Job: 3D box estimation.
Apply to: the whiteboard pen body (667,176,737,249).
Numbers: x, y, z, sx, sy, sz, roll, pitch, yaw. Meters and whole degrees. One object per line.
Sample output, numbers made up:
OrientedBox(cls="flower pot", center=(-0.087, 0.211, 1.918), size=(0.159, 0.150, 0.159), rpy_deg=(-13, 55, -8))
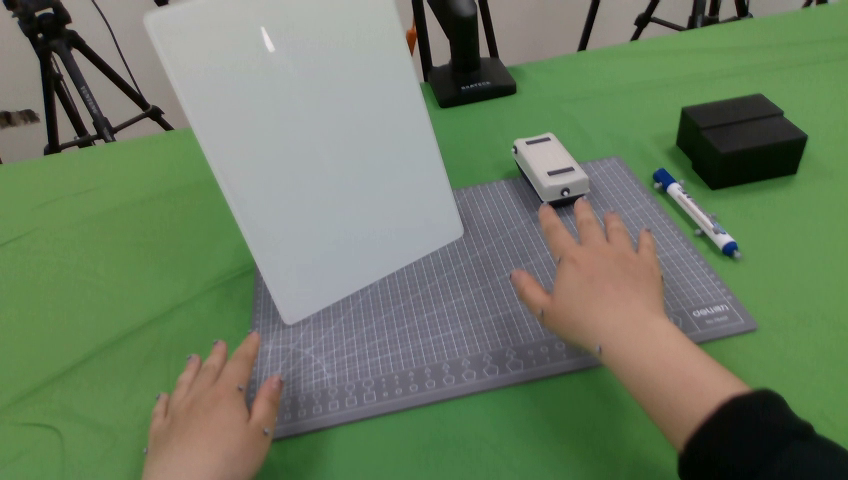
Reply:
OrientedBox(cls="whiteboard pen body", center=(0.288, -0.038, 0.646), size=(0.017, 0.017, 0.139), rpy_deg=(-13, 40, -4))

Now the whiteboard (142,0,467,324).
OrientedBox(cls="whiteboard", center=(-0.117, -0.112, 0.628), size=(0.217, 0.308, 0.142), rpy_deg=(-27, 24, -19))

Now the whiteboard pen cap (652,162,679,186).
OrientedBox(cls="whiteboard pen cap", center=(0.275, -0.074, 0.689), size=(0.018, 0.018, 0.033), rpy_deg=(-14, 39, -5))

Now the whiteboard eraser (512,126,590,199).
OrientedBox(cls="whiteboard eraser", center=(0.147, -0.091, 0.710), size=(0.055, 0.042, 0.111), rpy_deg=(-15, 41, -4))
